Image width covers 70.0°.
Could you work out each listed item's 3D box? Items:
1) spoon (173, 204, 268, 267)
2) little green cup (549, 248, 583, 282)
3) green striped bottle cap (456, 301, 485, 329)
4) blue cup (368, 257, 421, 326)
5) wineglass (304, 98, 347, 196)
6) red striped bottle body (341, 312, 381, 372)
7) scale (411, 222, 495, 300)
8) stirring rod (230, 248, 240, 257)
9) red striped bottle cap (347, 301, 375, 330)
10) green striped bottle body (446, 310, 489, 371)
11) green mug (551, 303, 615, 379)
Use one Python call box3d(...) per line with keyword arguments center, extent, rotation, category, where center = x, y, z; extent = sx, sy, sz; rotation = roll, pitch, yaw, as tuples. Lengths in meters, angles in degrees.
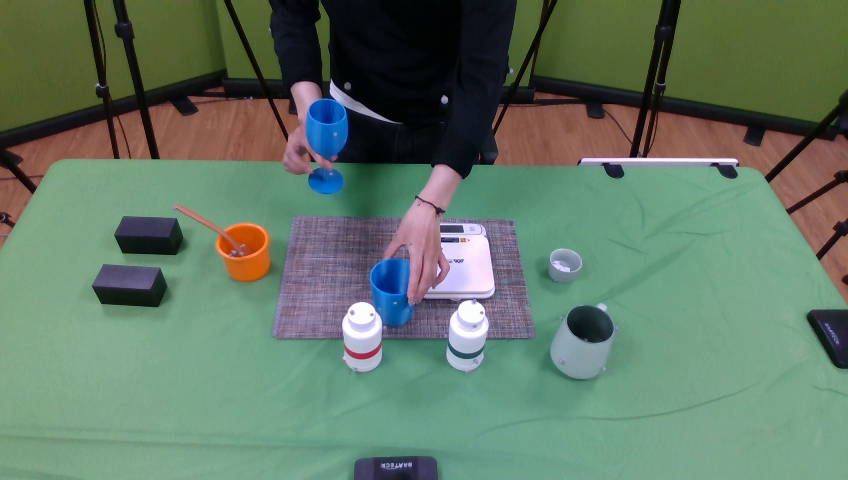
box3d(center=(-0.363, -0.009, 1.089), extent=(0.021, 0.195, 0.041), rotation=(-35, 31, 23), category="spoon")
box3d(center=(0.268, 0.050, 1.156), extent=(0.061, 0.039, 0.061), rotation=(1, 46, -1), category="little green cup")
box3d(center=(0.073, 0.116, 0.943), extent=(0.044, 0.020, 0.044), rotation=(3, 46, -3), category="green striped bottle cap")
box3d(center=(-0.052, 0.094, 1.040), extent=(0.093, 0.101, 0.092), rotation=(2, 45, -1), category="blue cup")
box3d(center=(-0.171, -0.160, 1.057), extent=(0.074, 0.173, 0.073), rotation=(5, 53, -6), category="wineglass")
box3d(center=(-0.100, 0.154, 0.972), extent=(0.063, 0.120, 0.062), rotation=(2, 46, -2), category="red striped bottle body")
box3d(center=(0.052, 0.031, 1.158), extent=(0.149, 0.032, 0.199), rotation=(1, 46, -4), category="scale")
box3d(center=(-0.330, 0.023, 1.059), extent=(0.014, 0.176, 0.006), rotation=(33, 79, -12), category="stirring rod")
box3d(center=(-0.097, 0.116, 0.934), extent=(0.044, 0.018, 0.044), rotation=(2, 50, -3), category="red striped bottle cap")
box3d(center=(0.070, 0.155, 0.984), extent=(0.063, 0.120, 0.063), rotation=(2, 46, -2), category="green striped bottle body")
box3d(center=(0.271, 0.157, 1.007), extent=(0.092, 0.105, 0.125), rotation=(27, 50, 21), category="green mug")
